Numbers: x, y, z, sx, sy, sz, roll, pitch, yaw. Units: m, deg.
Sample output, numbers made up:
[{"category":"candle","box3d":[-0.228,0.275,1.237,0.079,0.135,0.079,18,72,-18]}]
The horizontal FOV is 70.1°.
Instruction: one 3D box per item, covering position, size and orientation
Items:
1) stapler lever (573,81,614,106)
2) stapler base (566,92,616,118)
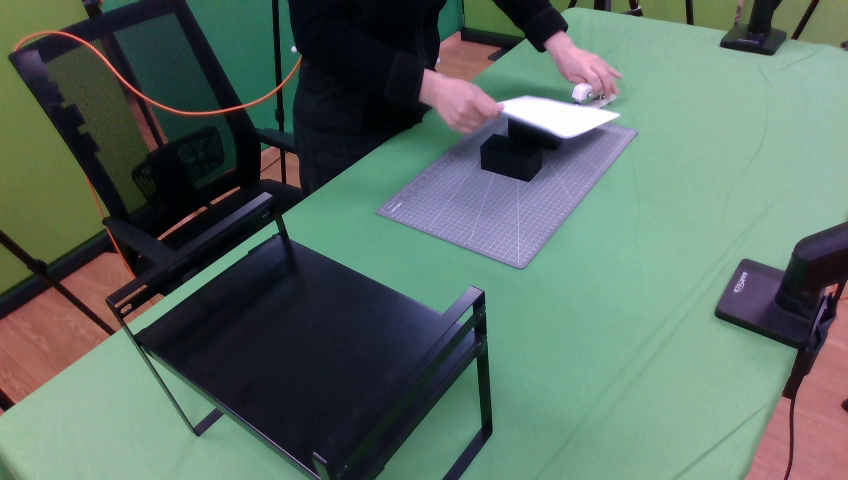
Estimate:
[{"category":"stapler lever","box3d":[0.348,-0.309,1.238,0.118,0.040,0.026,-30,49,-32]},{"category":"stapler base","box3d":[0.348,-0.288,1.253,0.131,0.024,0.041,-30,49,-32]}]
